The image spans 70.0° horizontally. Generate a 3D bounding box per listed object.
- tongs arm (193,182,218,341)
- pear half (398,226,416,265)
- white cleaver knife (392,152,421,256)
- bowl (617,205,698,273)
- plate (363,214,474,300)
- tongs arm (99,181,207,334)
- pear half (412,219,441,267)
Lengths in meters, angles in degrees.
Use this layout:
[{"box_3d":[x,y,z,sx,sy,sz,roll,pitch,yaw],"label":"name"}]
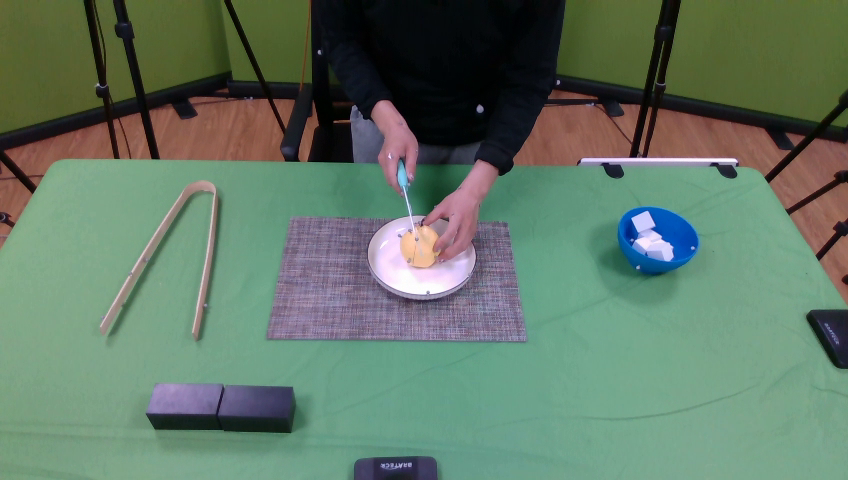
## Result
[{"box_3d":[-0.413,0.025,1.140,0.028,0.028,0.385,-5,47,-7],"label":"tongs arm"},{"box_3d":[-0.032,0.006,1.124,0.031,0.088,0.070,-1,50,-6],"label":"pear half"},{"box_3d":[-0.034,-0.072,1.099,0.021,0.066,0.284,-12,38,0],"label":"white cleaver knife"},{"box_3d":[0.442,0.011,1.181,0.151,0.077,0.150,2,46,-2],"label":"bowl"},{"box_3d":[-0.010,0.036,1.147,0.208,0.039,0.206,2,46,-2],"label":"plate"},{"box_3d":[-0.493,0.018,1.132,0.051,0.026,0.382,7,45,0],"label":"tongs arm"},{"box_3d":[0.004,0.001,1.120,0.056,0.110,0.076,-3,52,-2],"label":"pear half"}]
